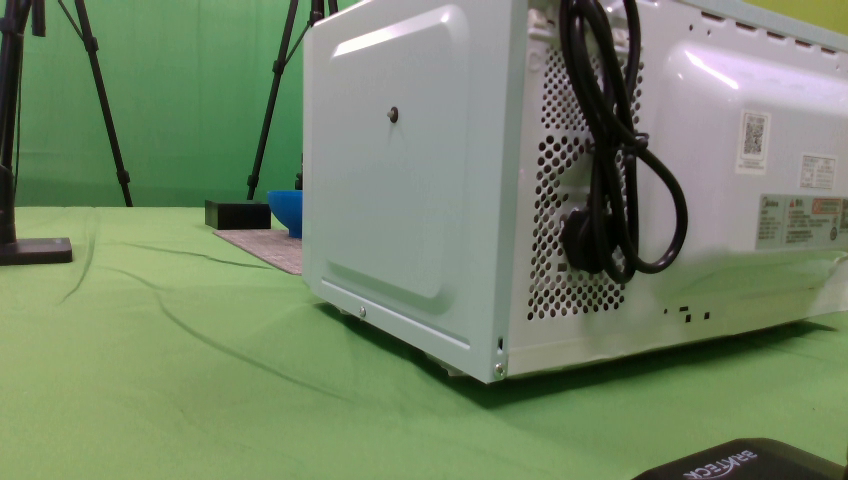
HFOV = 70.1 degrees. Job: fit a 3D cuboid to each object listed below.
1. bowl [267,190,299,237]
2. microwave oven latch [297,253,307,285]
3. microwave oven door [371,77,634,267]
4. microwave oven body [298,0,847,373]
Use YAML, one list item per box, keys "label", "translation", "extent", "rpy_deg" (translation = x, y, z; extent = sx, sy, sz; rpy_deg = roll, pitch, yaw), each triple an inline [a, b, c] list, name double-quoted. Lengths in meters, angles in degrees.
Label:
- label: "bowl"
  translation: [-0.202, -0.046, 1.069]
  extent: [0.151, 0.077, 0.151]
  rpy_deg: [3, 7, 0]
- label: "microwave oven latch"
  translation: [-0.082, 0.027, 0.583]
  extent: [0.079, 0.029, 0.030]
  rpy_deg: [-1, 7, -33]
- label: "microwave oven door"
  translation: [0.096, -0.099, 0.837]
  extent: [0.355, 0.243, 0.039]
  rpy_deg: [5, 8, 20]
- label: "microwave oven body"
  translation: [0.151, -0.055, 0.543]
  extent: [0.444, 0.260, 0.324]
  rpy_deg: [-1, 7, -33]
